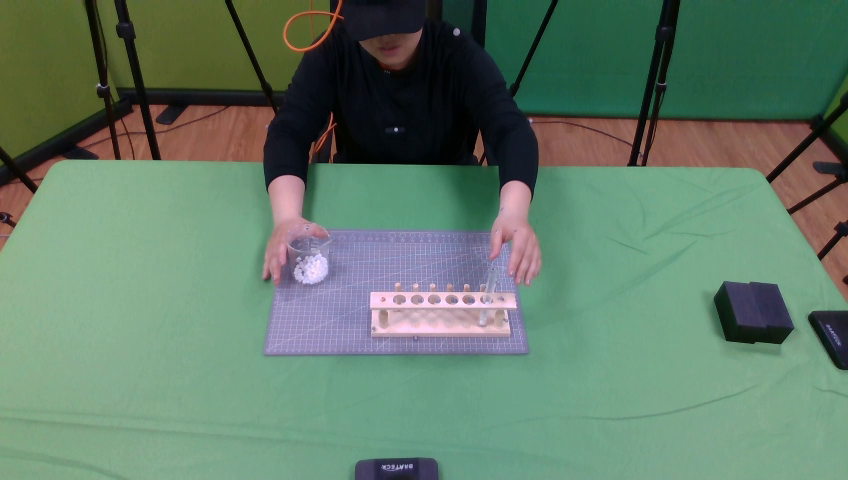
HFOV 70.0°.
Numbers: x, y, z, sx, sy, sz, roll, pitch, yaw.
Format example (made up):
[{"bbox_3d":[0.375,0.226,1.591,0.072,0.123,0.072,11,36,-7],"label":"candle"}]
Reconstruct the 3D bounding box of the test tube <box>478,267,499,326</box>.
[{"bbox_3d":[0.105,0.097,0.997,0.017,0.151,0.017,2,49,-2],"label":"test tube"}]

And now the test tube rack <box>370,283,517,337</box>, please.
[{"bbox_3d":[0.030,0.116,1.041,0.242,0.085,0.066,1,46,-4],"label":"test tube rack"}]

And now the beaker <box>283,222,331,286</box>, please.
[{"bbox_3d":[-0.208,0.028,1.098,0.084,0.101,0.073,2,46,-4],"label":"beaker"}]
